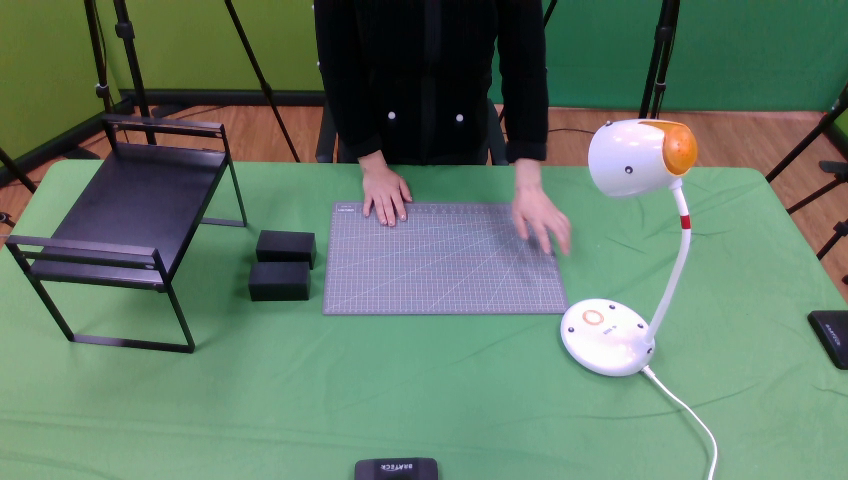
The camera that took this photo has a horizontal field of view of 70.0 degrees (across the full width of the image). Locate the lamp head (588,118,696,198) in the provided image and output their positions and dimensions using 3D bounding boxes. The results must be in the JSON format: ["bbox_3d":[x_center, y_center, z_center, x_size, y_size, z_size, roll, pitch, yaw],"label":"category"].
[{"bbox_3d":[0.304,-0.112,0.822,0.112,0.112,0.122,-26,16,-25],"label":"lamp head"}]

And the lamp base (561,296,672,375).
[{"bbox_3d":[0.332,0.119,0.995,0.160,0.181,0.178,-34,59,-31],"label":"lamp base"}]
